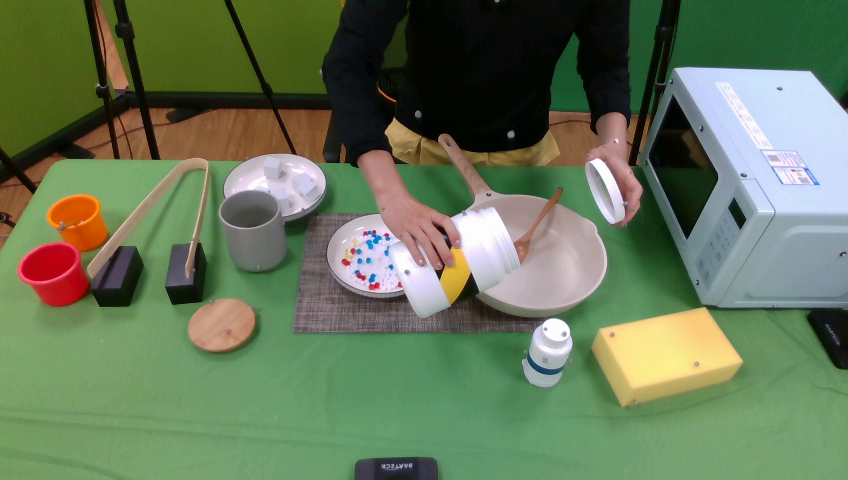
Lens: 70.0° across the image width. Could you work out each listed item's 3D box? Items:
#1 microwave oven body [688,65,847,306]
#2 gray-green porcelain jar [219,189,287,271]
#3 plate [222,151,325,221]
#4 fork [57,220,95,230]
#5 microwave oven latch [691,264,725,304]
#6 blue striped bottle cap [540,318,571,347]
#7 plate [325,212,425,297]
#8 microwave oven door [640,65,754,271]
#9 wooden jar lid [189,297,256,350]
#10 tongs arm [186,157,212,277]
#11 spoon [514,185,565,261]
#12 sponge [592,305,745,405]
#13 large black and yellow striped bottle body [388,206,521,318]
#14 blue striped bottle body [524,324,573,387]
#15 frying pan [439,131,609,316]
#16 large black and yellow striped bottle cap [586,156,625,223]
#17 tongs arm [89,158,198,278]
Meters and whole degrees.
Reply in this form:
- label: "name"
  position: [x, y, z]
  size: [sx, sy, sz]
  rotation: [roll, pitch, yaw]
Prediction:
- label: "microwave oven body"
  position: [0.669, -0.111, 1.176]
  size: [0.326, 0.261, 0.439]
  rotation: [0, 46, -3]
- label: "gray-green porcelain jar"
  position: [-0.310, -0.014, 1.113]
  size: [0.106, 0.127, 0.105]
  rotation: [2, 46, -2]
- label: "plate"
  position: [-0.310, -0.106, 1.262]
  size: [0.208, 0.039, 0.206]
  rotation: [2, 47, -2]
- label: "fork"
  position: [-0.624, -0.027, 1.087]
  size: [0.028, 0.207, 0.018]
  rotation: [-3, 92, -17]
- label: "microwave oven latch"
  position: [0.521, 0.081, 1.116]
  size: [0.030, 0.029, 0.078]
  rotation: [0, 46, -3]
- label: "blue striped bottle cap"
  position: [0.203, 0.142, 0.933]
  size: [0.044, 0.021, 0.044]
  rotation: [3, 49, -4]
- label: "plate"
  position: [-0.081, 0.030, 1.143]
  size: [0.209, 0.038, 0.208]
  rotation: [3, 46, -3]
- label: "microwave oven door"
  position: [0.524, -0.148, 1.193]
  size: [0.039, 0.245, 0.353]
  rotation: [0, 47, -3]
- label: "wooden jar lid"
  position: [-0.342, 0.145, 1.033]
  size: [0.108, 0.021, 0.107]
  rotation: [3, 45, -2]
- label: "tongs arm"
  position: [-0.445, -0.058, 1.168]
  size: [0.051, 0.026, 0.382]
  rotation: [-5, 37, -6]
- label: "spoon"
  position: [0.224, -0.034, 1.188]
  size: [0.041, 0.022, 0.193]
  rotation: [29, 78, 31]
- label: "sponge"
  position: [0.405, 0.190, 1.014]
  size: [0.207, 0.061, 0.117]
  rotation: [-10, 48, -13]
- label: "large black and yellow striped bottle body"
  position: [0.049, 0.031, 0.968]
  size: [0.184, 0.131, 0.130]
  rotation: [-25, 50, 1]
- label: "blue striped bottle body"
  position: [0.200, 0.178, 0.970]
  size: [0.063, 0.121, 0.062]
  rotation: [2, 46, -2]
- label: "frying pan"
  position: [0.149, -0.050, 1.190]
  size: [0.307, 0.103, 0.484]
  rotation: [-17, 58, -20]
- label: "large black and yellow striped bottle cap"
  position: [0.303, -0.085, 1.014]
  size: [0.019, 0.116, 0.114]
  rotation: [-21, 49, 2]
- label: "tongs arm"
  position: [-0.529, -0.057, 1.164]
  size: [0.028, 0.028, 0.385]
  rotation: [1, 36, 8]
